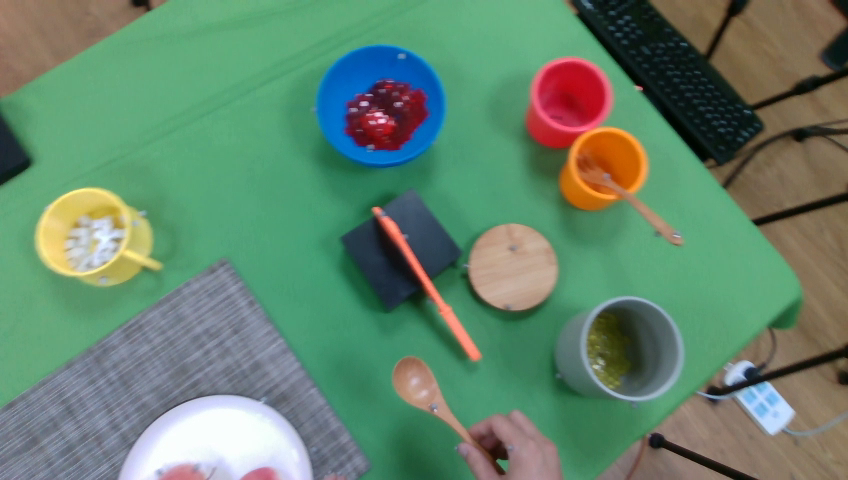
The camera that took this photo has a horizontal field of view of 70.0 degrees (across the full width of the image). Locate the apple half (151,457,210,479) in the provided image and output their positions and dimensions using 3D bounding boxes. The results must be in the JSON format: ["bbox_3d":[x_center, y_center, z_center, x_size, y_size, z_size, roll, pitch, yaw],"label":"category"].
[{"bbox_3d":[-0.258,0.274,0.631,0.074,0.053,0.080,-39,83,-8],"label":"apple half"}]

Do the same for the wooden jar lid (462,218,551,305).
[{"bbox_3d":[0.100,0.027,0.739,0.108,0.021,0.108,1,79,-3],"label":"wooden jar lid"}]

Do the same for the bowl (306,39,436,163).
[{"bbox_3d":[-0.063,-0.155,0.737,0.151,0.077,0.150,1,78,-4],"label":"bowl"}]

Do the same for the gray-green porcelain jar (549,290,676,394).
[{"bbox_3d":[0.201,0.116,0.672,0.106,0.127,0.105,1,77,-4],"label":"gray-green porcelain jar"}]

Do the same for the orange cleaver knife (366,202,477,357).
[{"bbox_3d":[-0.003,0.045,0.696,0.012,0.076,0.212,-36,106,-8],"label":"orange cleaver knife"}]

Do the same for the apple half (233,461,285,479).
[{"bbox_3d":[-0.178,0.281,0.644,0.081,0.033,0.081,1,75,-1],"label":"apple half"}]

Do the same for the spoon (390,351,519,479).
[{"bbox_3d":[0.037,0.186,0.597,0.193,0.021,0.041,47,63,1],"label":"spoon"}]

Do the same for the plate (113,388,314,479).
[{"bbox_3d":[-0.222,0.265,0.651,0.209,0.038,0.208,1,78,-4],"label":"plate"}]

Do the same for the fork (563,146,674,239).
[{"bbox_3d":[0.220,-0.058,0.699,0.028,0.019,0.205,-20,36,-9],"label":"fork"}]

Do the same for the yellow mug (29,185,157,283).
[{"bbox_3d":[-0.365,0.001,0.688,0.131,0.064,0.099,24,77,1],"label":"yellow mug"}]
